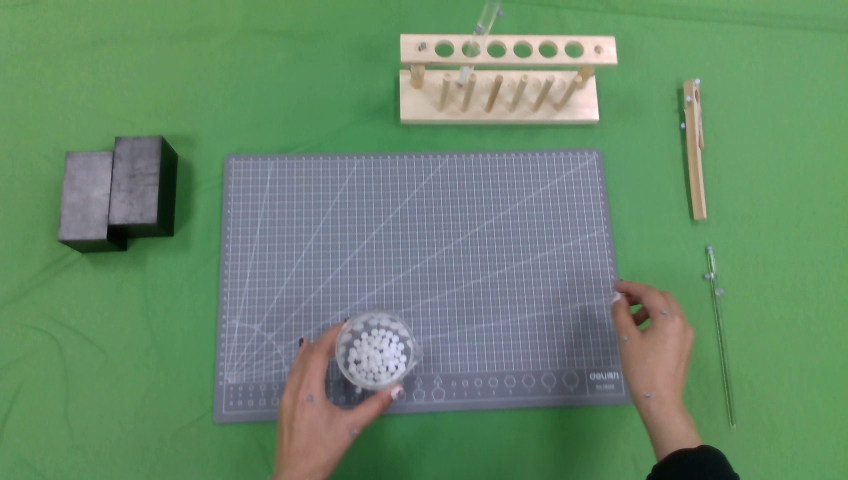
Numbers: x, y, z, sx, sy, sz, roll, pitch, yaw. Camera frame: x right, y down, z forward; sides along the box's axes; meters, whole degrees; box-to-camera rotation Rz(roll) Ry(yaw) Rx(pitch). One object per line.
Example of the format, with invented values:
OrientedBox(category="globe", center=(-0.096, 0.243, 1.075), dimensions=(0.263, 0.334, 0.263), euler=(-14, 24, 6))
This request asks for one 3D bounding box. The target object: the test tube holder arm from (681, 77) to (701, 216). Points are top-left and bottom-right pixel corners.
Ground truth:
OrientedBox(category="test tube holder arm", center=(0.326, -0.116, 0.739), dimensions=(0.013, 0.015, 0.177), euler=(12, 73, -31))

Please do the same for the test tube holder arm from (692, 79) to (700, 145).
OrientedBox(category="test tube holder arm", center=(0.333, -0.158, 0.753), dimensions=(0.010, 0.015, 0.087), euler=(13, 73, -30))

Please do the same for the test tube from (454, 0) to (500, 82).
OrientedBox(category="test tube", center=(0.055, -0.217, 0.665), dimensions=(0.017, 0.150, 0.017), euler=(3, 73, -9))

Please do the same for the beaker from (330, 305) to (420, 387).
OrientedBox(category="beaker", center=(-0.047, 0.110, 0.608), dimensions=(0.084, 0.100, 0.073), euler=(7, 74, -2))

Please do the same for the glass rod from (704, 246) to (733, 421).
OrientedBox(category="glass rod", center=(0.335, 0.103, 0.691), dimensions=(0.008, 0.008, 0.198), euler=(0, 75, -4))

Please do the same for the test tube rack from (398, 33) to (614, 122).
OrientedBox(category="test tube rack", center=(0.091, -0.188, 0.711), dimensions=(0.242, 0.085, 0.066), euler=(0, 75, -4))
